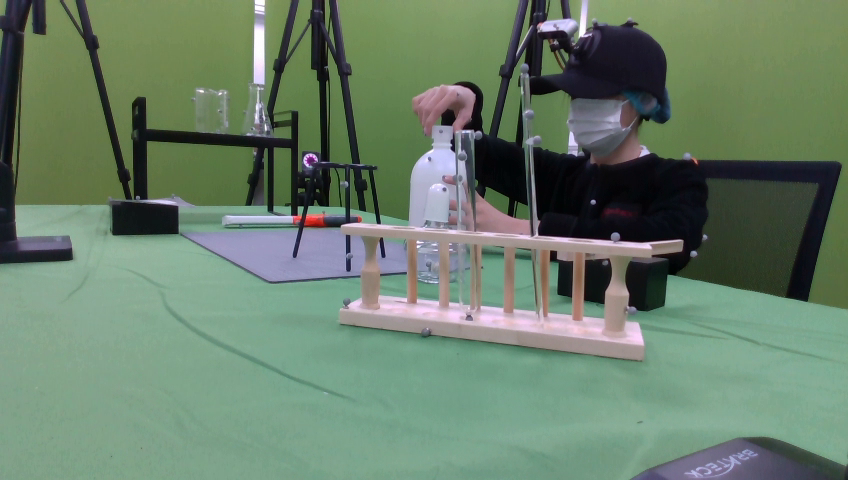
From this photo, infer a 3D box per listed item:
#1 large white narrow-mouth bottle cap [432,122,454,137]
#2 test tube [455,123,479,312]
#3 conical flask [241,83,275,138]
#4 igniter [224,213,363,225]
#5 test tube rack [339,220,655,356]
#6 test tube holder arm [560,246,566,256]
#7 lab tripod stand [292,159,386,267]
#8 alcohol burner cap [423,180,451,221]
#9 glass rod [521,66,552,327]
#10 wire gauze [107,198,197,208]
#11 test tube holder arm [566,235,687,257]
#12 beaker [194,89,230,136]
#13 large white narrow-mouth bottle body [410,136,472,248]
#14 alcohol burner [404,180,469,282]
[{"bbox_3d":[0.032,-0.180,0.991,0.038,0.024,0.037,2,8,0],"label":"large white narrow-mouth bottle cap"},{"bbox_3d":[0.034,-0.016,0.476,0.017,0.150,0.017,-2,10,1],"label":"test tube"},{"bbox_3d":[-0.383,-0.297,1.392,0.075,0.122,0.075,2,7,0],"label":"conical flask"},{"bbox_3d":[-0.255,-0.041,1.210,0.278,0.025,0.057,-2,-2,-31],"label":"igniter"},{"bbox_3d":[0.056,0.032,0.495,0.242,0.085,0.067,4,7,15],"label":"test tube rack"},{"bbox_3d":[0.173,0.007,0.611,0.088,0.015,0.010,-3,9,-30],"label":"test tube holder arm"},{"bbox_3d":[-0.105,-0.039,0.798,0.148,0.131,0.148,2,5,0],"label":"lab tripod stand"},{"bbox_3d":[0.017,-0.047,0.711,0.034,0.048,0.034,8,5,0],"label":"alcohol burner cap"},{"bbox_3d":[0.085,-0.028,0.454,0.008,0.199,0.008,-7,10,2],"label":"glass rod"},{"bbox_3d":[-0.462,-0.064,1.023,0.126,0.011,0.121,-2,7,-32],"label":"wire gauze"},{"bbox_3d":[0.215,0.006,0.630,0.179,0.015,0.013,-3,9,-30],"label":"test tube holder arm"},{"bbox_3d":[-0.472,-0.283,1.352,0.074,0.100,0.083,-4,10,-35],"label":"beaker"},{"bbox_3d":[0.029,-0.088,1.005,0.102,0.194,0.102,2,8,0],"label":"large white narrow-mouth bottle body"},{"bbox_3d":[0.015,-0.011,0.715,0.078,0.119,0.078,0,7,0],"label":"alcohol burner"}]
